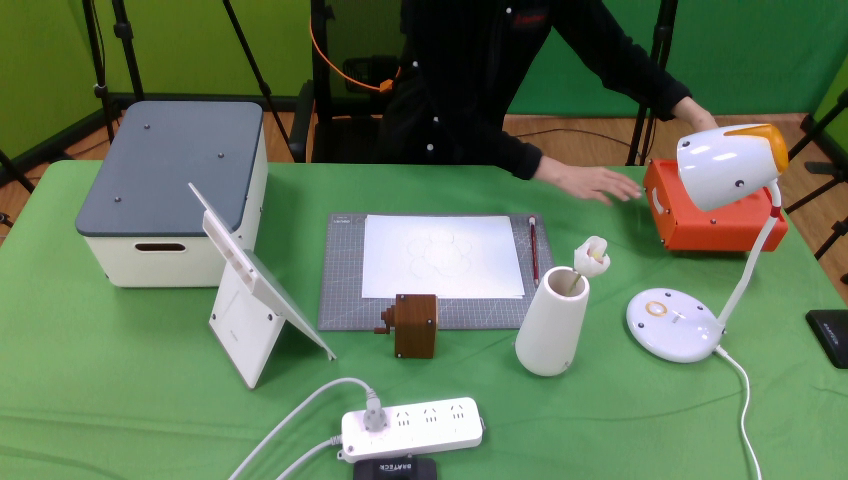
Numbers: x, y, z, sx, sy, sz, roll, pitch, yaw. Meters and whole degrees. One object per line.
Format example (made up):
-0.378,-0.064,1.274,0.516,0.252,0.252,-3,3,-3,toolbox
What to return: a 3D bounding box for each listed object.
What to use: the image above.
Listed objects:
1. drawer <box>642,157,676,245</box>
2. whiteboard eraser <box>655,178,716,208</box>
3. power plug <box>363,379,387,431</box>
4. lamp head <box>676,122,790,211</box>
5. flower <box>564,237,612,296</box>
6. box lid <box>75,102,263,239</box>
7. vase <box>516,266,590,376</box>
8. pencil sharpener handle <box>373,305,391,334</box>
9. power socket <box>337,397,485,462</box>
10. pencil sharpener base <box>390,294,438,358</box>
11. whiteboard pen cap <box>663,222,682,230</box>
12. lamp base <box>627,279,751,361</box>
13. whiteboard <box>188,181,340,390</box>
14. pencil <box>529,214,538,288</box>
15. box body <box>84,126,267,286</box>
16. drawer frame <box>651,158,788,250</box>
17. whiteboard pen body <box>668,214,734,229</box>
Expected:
0.564,-0.074,1.211,0.212,0.073,0.193,3,45,-2,drawer
0.538,-0.095,1.251,0.113,0.042,0.055,4,52,-10,whiteboard eraser
-0.072,0.252,0.910,0.035,0.053,0.072,3,44,-1,power plug
0.423,-0.104,0.819,0.122,0.113,0.112,-13,33,40,lamp head
0.206,0.088,0.893,0.038,0.363,0.044,-17,67,-9,flower
-0.443,-0.138,1.094,0.263,0.015,0.369,-1,47,-5,box lid
0.208,0.132,0.965,0.098,0.201,0.097,3,46,-3,vase
-0.069,0.133,0.989,0.030,0.068,0.036,1,47,-2,pencil sharpener handle
-0.018,0.285,0.915,0.227,0.033,0.071,-5,46,-8,power socket
-0.018,0.143,1.000,0.077,0.107,0.061,1,46,-2,pencil sharpener base
0.487,-0.027,1.188,0.033,0.018,0.018,0,46,-17,whiteboard pen cap
0.459,0.100,1.027,0.178,0.181,0.160,27,51,17,lamp base
-0.292,0.096,0.929,0.144,0.307,0.216,-38,57,-10,whiteboard
0.218,0.019,1.202,0.012,0.012,0.193,5,48,1,pencil
-0.446,-0.088,1.150,0.254,0.161,0.361,-1,46,-5,box body
0.571,-0.074,1.213,0.214,0.083,0.200,1,46,0,drawer frame
0.547,-0.035,1.200,0.141,0.017,0.017,-8,48,-10,whiteboard pen body
